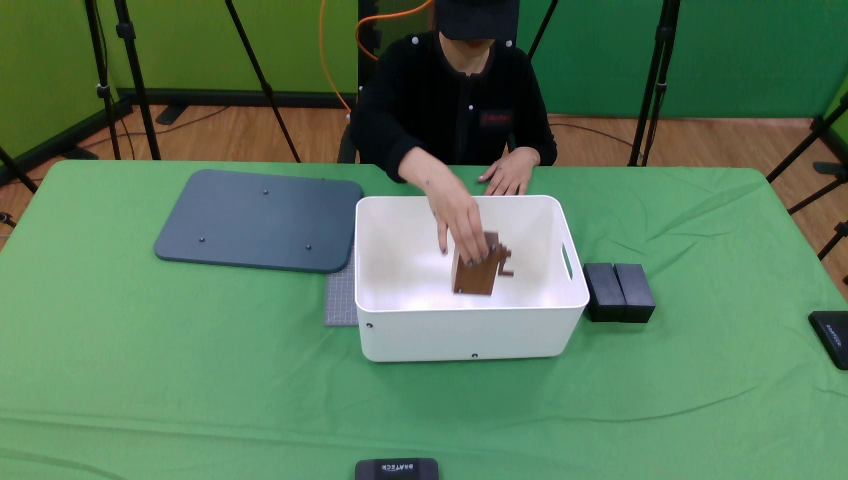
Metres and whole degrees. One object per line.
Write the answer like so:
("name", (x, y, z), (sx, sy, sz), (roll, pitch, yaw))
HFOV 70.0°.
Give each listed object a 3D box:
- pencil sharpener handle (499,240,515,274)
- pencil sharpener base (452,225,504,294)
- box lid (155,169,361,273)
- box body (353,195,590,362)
("pencil sharpener handle", (0.141, 0.029, 1.008), (0.030, 0.068, 0.036), (4, 38, -2))
("pencil sharpener base", (0.089, 0.035, 1.015), (0.077, 0.107, 0.061), (4, 40, -2))
("box lid", (-0.321, -0.044, 1.225), (0.371, 0.015, 0.261), (4, 46, 1))
("box body", (0.065, 0.066, 1.040), (0.364, 0.161, 0.252), (-1, 46, -5))
